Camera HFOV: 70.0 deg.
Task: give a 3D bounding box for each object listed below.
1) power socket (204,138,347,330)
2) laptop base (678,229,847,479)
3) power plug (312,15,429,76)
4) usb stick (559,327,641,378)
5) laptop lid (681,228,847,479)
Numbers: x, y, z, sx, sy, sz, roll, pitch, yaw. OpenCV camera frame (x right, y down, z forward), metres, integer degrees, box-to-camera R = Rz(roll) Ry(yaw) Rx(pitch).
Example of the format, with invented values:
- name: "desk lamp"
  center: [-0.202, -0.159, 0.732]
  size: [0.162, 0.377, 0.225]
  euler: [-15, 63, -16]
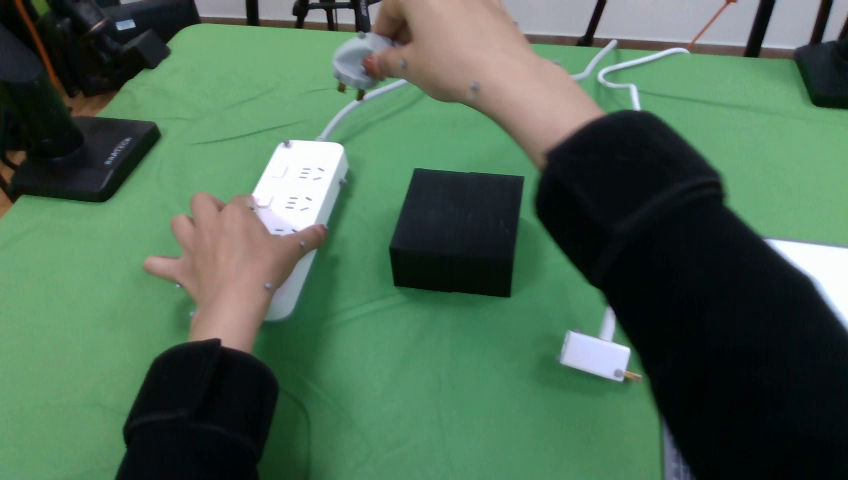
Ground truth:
- name: "power socket"
  center: [-0.130, -0.019, 0.559]
  size: [0.072, 0.033, 0.225]
  euler: [6, 48, 8]
- name: "laptop base"
  center: [0.366, 0.103, 0.425]
  size: [0.353, 0.023, 0.233]
  euler: [8, 52, 10]
- name: "power plug"
  center: [-0.039, -0.143, 0.412]
  size: [0.053, 0.072, 0.035]
  euler: [28, 32, -32]
- name: "usb stick"
  center: [0.132, 0.085, 0.447]
  size: [0.059, 0.021, 0.027]
  euler: [18, 88, 6]
- name: "laptop lid"
  center: [0.365, 0.097, 0.414]
  size: [0.356, 0.013, 0.240]
  euler: [9, 51, 12]
